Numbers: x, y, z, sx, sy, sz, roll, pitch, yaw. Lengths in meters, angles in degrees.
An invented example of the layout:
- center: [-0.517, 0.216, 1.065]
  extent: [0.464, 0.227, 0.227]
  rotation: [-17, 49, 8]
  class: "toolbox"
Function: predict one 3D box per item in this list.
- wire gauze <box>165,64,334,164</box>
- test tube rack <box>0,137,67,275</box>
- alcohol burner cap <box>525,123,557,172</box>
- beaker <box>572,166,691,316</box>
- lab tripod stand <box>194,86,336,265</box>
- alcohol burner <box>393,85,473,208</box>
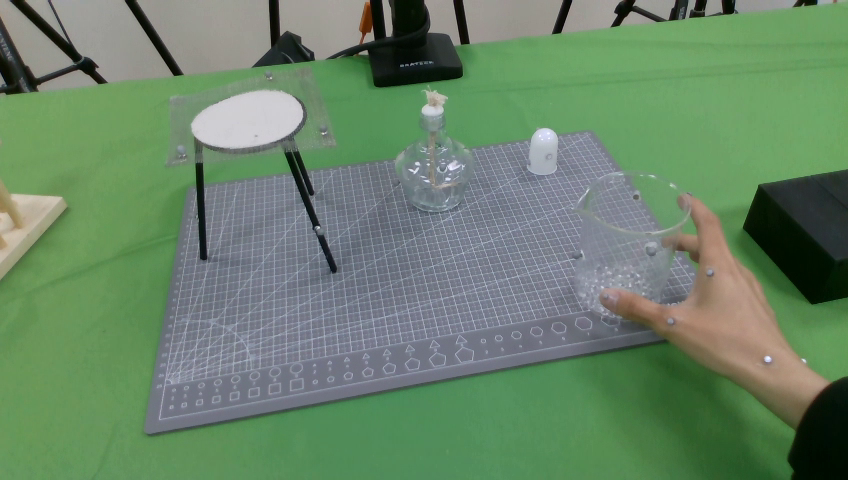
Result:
- center: [-0.143, -0.102, 0.482]
  extent: [0.125, 0.011, 0.120]
  rotation: [-13, 43, -9]
  class: "wire gauze"
- center: [-0.424, 0.008, 0.519]
  extent: [0.066, 0.086, 0.240]
  rotation: [5, 43, 8]
  class: "test tube rack"
- center: [0.123, -0.098, 0.630]
  extent: [0.034, 0.048, 0.033]
  rotation: [-2, 42, 2]
  class: "alcohol burner cap"
- center: [0.154, 0.004, 0.473]
  extent: [0.084, 0.101, 0.073]
  rotation: [-1, 43, 4]
  class: "beaker"
- center: [-0.139, -0.053, 0.528]
  extent: [0.148, 0.133, 0.147]
  rotation: [-2, 45, 2]
  class: "lab tripod stand"
- center: [0.008, -0.091, 0.576]
  extent: [0.078, 0.120, 0.077]
  rotation: [-2, 41, 2]
  class: "alcohol burner"
